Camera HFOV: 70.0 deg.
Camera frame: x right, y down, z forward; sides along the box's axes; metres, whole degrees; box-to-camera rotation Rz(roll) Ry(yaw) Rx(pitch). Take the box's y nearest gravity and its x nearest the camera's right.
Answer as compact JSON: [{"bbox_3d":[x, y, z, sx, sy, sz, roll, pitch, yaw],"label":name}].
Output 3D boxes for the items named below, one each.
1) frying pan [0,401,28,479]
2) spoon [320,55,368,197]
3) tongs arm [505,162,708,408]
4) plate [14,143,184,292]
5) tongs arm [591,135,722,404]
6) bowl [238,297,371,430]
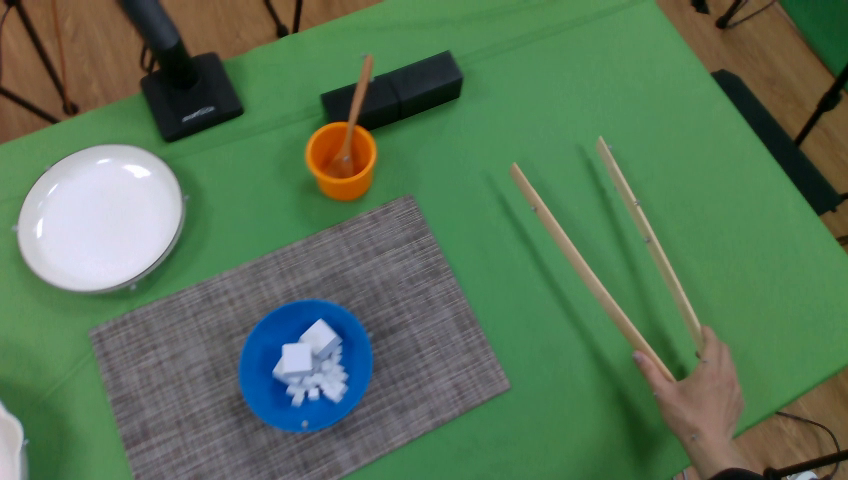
[{"bbox_3d":[-0.524,0.362,0.611,0.307,0.103,0.483,-27,65,-12],"label":"frying pan"},{"bbox_3d":[-0.102,-0.148,0.805,0.041,0.194,0.021,22,25,9],"label":"spoon"},{"bbox_3d":[0.217,0.048,0.771,0.028,0.028,0.384,-25,68,-23],"label":"tongs arm"},{"bbox_3d":[-0.420,-0.029,0.799,0.208,0.039,0.206,1,70,-3],"label":"plate"},{"bbox_3d":[0.287,0.024,0.792,0.051,0.027,0.381,-14,66,-16],"label":"tongs arm"},{"bbox_3d":[-0.137,0.151,0.724,0.151,0.077,0.150,1,70,-3],"label":"bowl"}]
